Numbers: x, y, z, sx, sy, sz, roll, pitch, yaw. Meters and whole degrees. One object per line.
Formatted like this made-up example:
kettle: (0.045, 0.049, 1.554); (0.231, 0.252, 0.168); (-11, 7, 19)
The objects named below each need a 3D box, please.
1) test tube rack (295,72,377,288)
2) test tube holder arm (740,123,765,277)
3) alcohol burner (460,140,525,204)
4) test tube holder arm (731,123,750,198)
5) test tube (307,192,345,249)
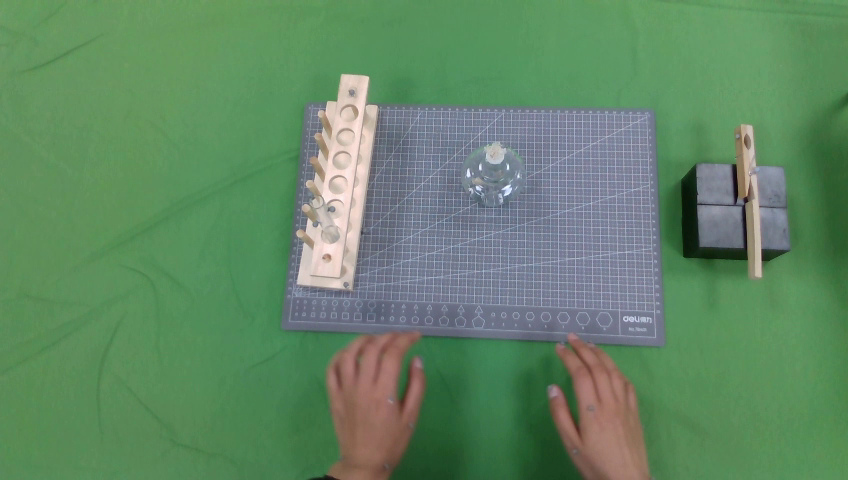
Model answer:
test tube rack: (-0.109, -0.071, 0.721); (0.067, 0.085, 0.241); (6, 76, 4)
test tube holder arm: (0.367, -0.047, 0.681); (0.013, 0.015, 0.177); (1, 76, -2)
alcohol burner: (0.080, -0.085, 0.701); (0.078, 0.119, 0.077); (-1, 77, 4)
test tube holder arm: (0.362, -0.091, 0.691); (0.010, 0.015, 0.087); (2, 76, -2)
test tube: (-0.104, -0.016, 0.656); (0.017, 0.151, 0.017); (0, 71, 1)
